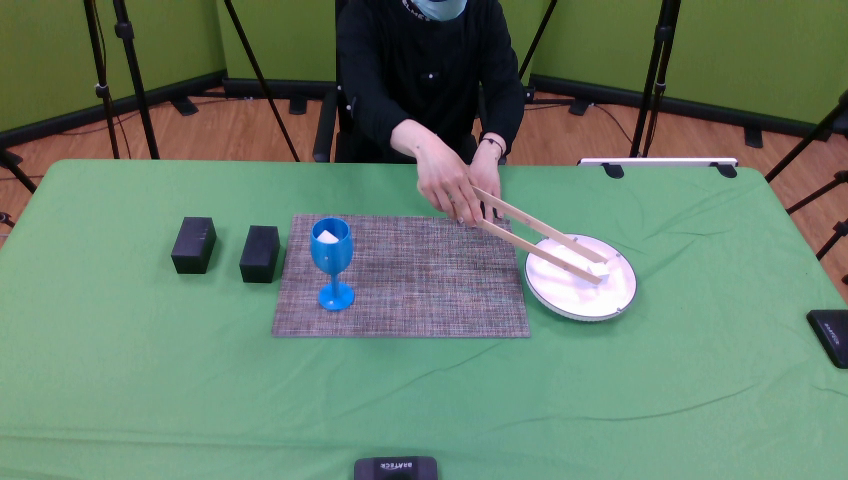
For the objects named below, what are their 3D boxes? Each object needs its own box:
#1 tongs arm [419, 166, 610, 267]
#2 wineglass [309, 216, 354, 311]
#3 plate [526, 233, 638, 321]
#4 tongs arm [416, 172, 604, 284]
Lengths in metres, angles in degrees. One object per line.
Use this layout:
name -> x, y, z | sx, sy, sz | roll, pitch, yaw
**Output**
tongs arm -> 0.164, -0.039, 1.125 | 0.384, 0.026, 0.050 | 31, 57, 5
wineglass -> -0.155, 0.043, 1.032 | 0.074, 0.173, 0.073 | 2, 46, -2
plate -> 0.292, 0.071, 1.135 | 0.209, 0.038, 0.208 | 2, 46, -2
tongs arm -> 0.152, -0.019, 1.109 | 0.387, 0.028, 0.028 | 28, 60, 4
